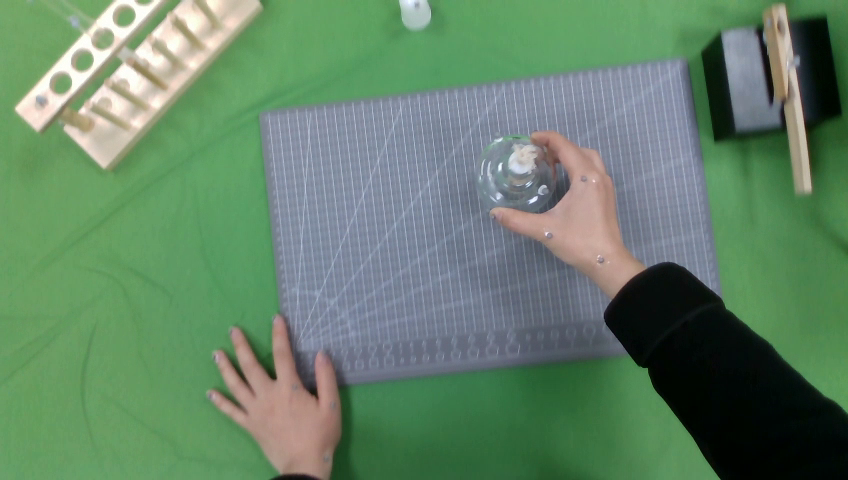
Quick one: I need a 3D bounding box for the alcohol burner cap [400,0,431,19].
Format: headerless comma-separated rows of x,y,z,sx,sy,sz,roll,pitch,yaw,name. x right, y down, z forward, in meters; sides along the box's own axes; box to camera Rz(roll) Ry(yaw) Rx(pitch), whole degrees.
-0.012,-0.253,0.622,0.034,0.048,0.034,-1,83,7,alcohol burner cap

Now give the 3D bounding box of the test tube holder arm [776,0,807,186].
0.339,-0.139,0.564,0.013,0.015,0.178,-7,88,-11,test tube holder arm

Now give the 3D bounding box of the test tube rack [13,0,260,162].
-0.282,-0.197,0.611,0.066,0.085,0.242,43,90,5,test tube rack

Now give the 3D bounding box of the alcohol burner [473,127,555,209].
0.083,-0.069,0.551,0.078,0.119,0.077,0,84,3,alcohol burner

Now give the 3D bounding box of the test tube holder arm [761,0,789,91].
0.328,-0.183,0.564,0.010,0.015,0.087,-7,88,-11,test tube holder arm

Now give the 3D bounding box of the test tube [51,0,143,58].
-0.308,-0.204,0.564,0.017,0.151,0.017,-1,82,6,test tube
